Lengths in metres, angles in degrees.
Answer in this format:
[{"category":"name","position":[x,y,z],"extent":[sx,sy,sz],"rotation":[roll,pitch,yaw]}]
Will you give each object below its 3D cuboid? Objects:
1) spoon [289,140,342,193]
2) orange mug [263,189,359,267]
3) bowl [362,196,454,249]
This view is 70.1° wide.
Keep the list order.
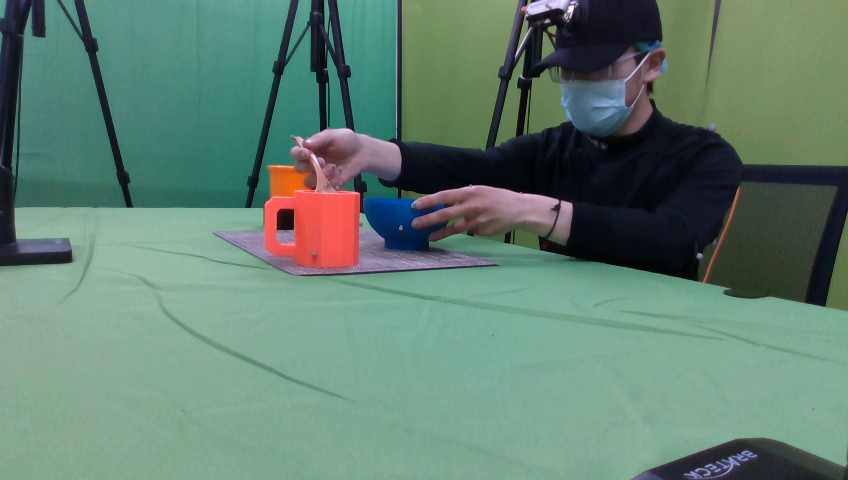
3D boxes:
[{"category":"spoon","position":[-0.152,-0.100,0.837],"extent":[0.022,0.041,0.193],"rotation":[-20,38,-17]},{"category":"orange mug","position":[-0.148,-0.019,0.794],"extent":[0.127,0.100,0.083],"rotation":[5,5,-20]},{"category":"bowl","position":[-0.028,-0.028,0.989],"extent":[0.151,0.077,0.151],"rotation":[2,7,0]}]
